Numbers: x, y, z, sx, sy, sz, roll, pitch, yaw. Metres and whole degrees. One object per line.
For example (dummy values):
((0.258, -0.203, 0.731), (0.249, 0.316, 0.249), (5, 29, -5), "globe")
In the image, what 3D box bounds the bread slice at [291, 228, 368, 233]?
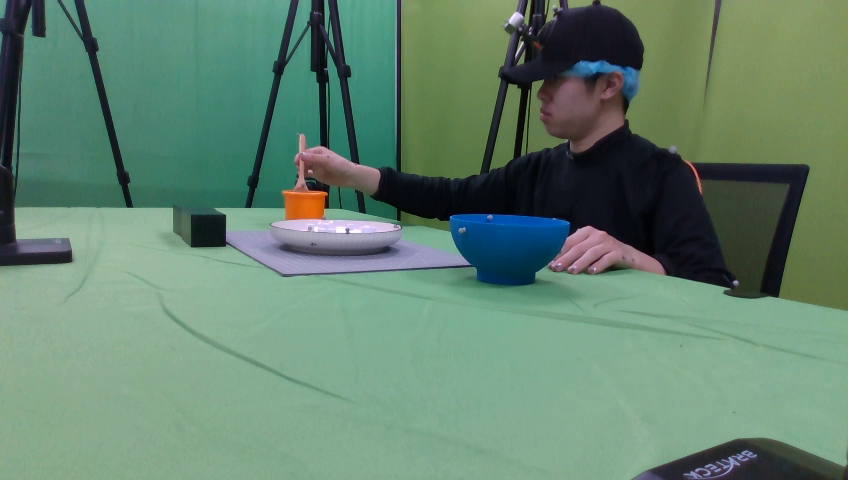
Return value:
((-0.143, -0.004, 0.953), (0.135, 0.018, 0.106), (-2, 9, -37), "bread slice")

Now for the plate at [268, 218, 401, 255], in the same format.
((-0.140, -0.006, 0.958), (0.209, 0.038, 0.209), (3, 7, 0), "plate")

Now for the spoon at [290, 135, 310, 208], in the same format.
((-0.259, -0.147, 1.274), (0.042, 0.193, 0.021), (2, -27, -11), "spoon")

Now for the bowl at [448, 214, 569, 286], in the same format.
((0.102, 0.012, 0.758), (0.151, 0.077, 0.151), (3, 7, 0), "bowl")
